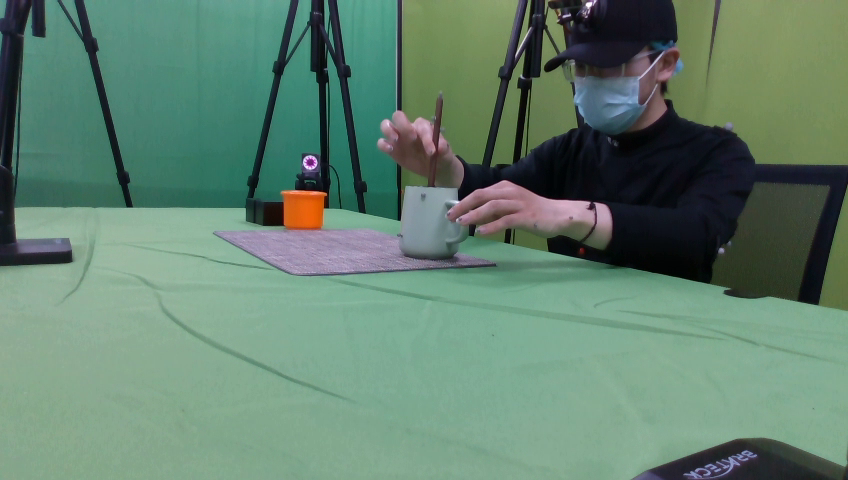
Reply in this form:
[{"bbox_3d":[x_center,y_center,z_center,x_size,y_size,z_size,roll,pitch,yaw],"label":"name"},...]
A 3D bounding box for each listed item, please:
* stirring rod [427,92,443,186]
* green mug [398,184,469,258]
[{"bbox_3d":[0.014,-0.129,0.895,0.006,0.176,0.014,0,10,-33],"label":"stirring rod"},{"bbox_3d":[0.020,-0.028,0.890,0.093,0.105,0.124,-4,9,-41],"label":"green mug"}]
